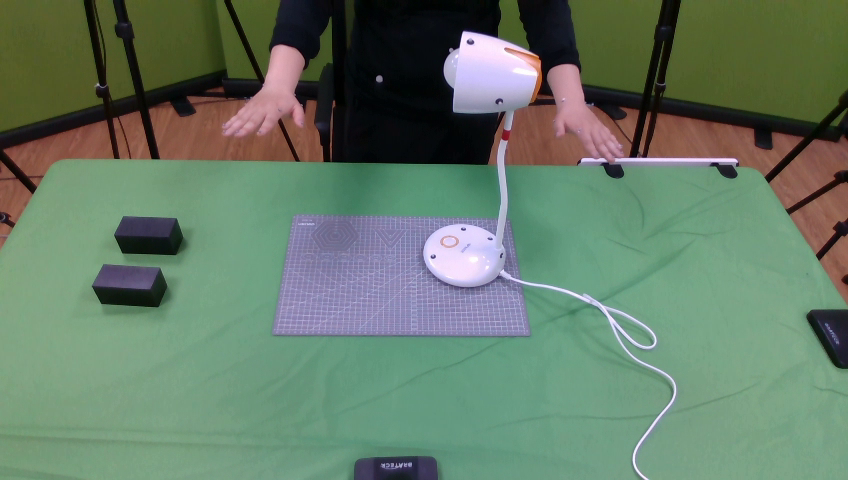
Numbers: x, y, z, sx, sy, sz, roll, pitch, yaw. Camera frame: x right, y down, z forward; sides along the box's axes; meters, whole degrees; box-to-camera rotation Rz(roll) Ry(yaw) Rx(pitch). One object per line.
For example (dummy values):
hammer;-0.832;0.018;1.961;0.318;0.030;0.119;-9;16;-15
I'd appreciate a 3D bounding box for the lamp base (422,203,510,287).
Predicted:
lamp base;0.092;-0.021;1.111;0.179;0.181;0.160;23;49;14

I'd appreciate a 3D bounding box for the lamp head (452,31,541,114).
lamp head;0.102;-0.228;0.858;0.123;0.113;0.112;11;46;0
